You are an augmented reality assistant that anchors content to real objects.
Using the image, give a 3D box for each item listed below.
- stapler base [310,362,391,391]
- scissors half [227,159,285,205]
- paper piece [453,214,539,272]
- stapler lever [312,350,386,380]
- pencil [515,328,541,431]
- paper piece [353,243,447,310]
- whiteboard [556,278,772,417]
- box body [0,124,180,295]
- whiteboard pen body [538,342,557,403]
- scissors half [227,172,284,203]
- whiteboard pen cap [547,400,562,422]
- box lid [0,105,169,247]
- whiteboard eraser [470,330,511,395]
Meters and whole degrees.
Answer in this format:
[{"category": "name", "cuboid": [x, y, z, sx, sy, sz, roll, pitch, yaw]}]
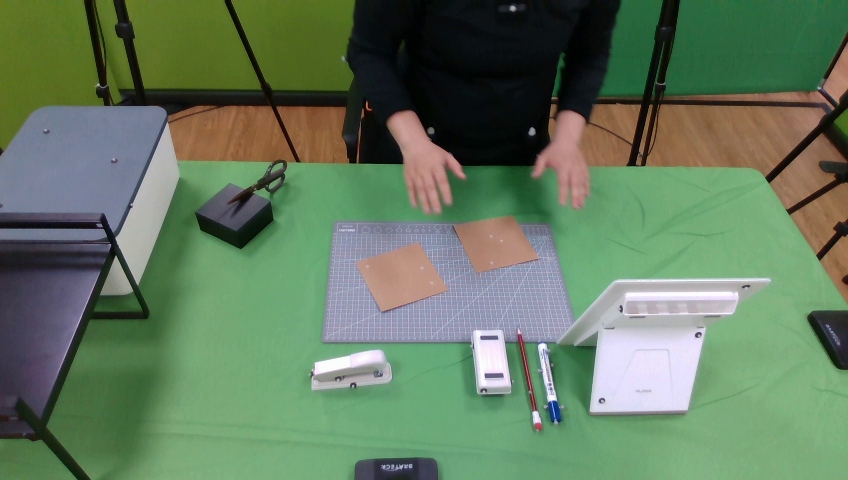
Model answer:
[{"category": "stapler base", "cuboid": [-0.119, 0.215, 0.980, 0.131, 0.024, 0.041, -5, 44, -7]}, {"category": "scissors half", "cuboid": [-0.336, -0.117, 1.218, 0.013, 0.040, 0.175, 25, 46, 14]}, {"category": "paper piece", "cuboid": [0.142, 0.002, 1.212, 0.135, 0.004, 0.135, -11, 48, -14]}, {"category": "stapler lever", "cuboid": [-0.120, 0.198, 0.963, 0.118, 0.040, 0.026, -4, 44, -8]}, {"category": "pencil", "cuboid": [0.169, 0.224, 1.002, 0.012, 0.012, 0.192, -2, 46, -6]}, {"category": "paper piece", "cuboid": [-0.045, 0.066, 1.137, 0.136, 0.009, 0.137, -13, 47, -23]}, {"category": "whiteboard", "cuboid": [0.347, 0.174, 0.903, 0.217, 0.306, 0.143, 1, 65, -4]}, {"category": "box body", "cuboid": [-0.628, -0.075, 1.122, 0.254, 0.161, 0.361, 1, 46, -4]}, {"category": "whiteboard pen body", "cuboid": [0.205, 0.228, 0.997, 0.017, 0.017, 0.140, 1, 46, -3]}, {"category": "scissors half", "cuboid": [-0.339, -0.101, 1.230, 0.013, 0.040, 0.175, 21, 28, 17]}, {"category": "whiteboard pen cap", "cuboid": [0.205, 0.269, 0.956, 0.018, 0.018, 0.033, 0, 47, -5]}, {"category": "box lid", "cuboid": [-0.624, -0.125, 1.067, 0.263, 0.015, 0.369, 0, 46, -3]}, {"category": "whiteboard eraser", "cuboid": [0.110, 0.202, 0.998, 0.055, 0.042, 0.112, 1, 46, -5]}]
